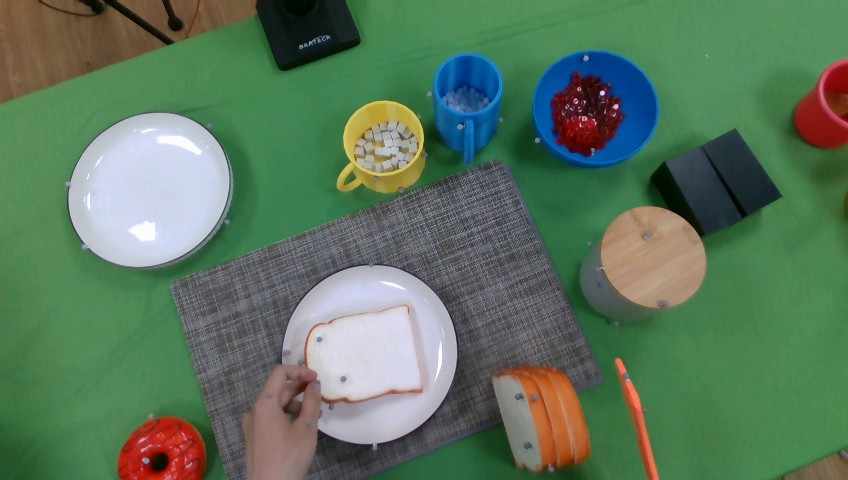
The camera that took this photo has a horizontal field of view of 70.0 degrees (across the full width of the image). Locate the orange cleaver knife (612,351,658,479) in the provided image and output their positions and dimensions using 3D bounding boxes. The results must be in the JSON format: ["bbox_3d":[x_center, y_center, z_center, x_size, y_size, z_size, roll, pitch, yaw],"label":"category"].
[{"bbox_3d":[0.216,0.212,0.588,0.012,0.077,0.212,-16,97,8],"label":"orange cleaver knife"}]

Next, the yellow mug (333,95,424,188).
[{"bbox_3d":[-0.063,-0.113,0.763,0.131,0.064,0.099,-42,78,-7],"label":"yellow mug"}]

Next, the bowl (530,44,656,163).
[{"bbox_3d":[0.203,-0.158,0.761,0.151,0.077,0.150,0,77,2],"label":"bowl"}]

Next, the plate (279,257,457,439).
[{"bbox_3d":[-0.065,0.125,0.716,0.209,0.038,0.208,0,76,1],"label":"plate"}]

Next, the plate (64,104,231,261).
[{"bbox_3d":[-0.347,-0.071,0.774,0.208,0.039,0.206,0,77,1],"label":"plate"}]

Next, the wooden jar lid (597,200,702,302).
[{"bbox_3d":[0.232,0.012,0.631,0.108,0.021,0.108,0,77,-1],"label":"wooden jar lid"}]

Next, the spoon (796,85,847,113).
[{"bbox_3d":[0.555,-0.177,0.723,0.022,0.192,0.041,35,70,-37],"label":"spoon"}]

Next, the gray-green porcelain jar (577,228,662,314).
[{"bbox_3d":[0.235,0.028,0.691,0.106,0.127,0.105,0,76,1],"label":"gray-green porcelain jar"}]

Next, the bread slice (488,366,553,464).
[{"bbox_3d":[0.103,0.184,0.653,0.018,0.135,0.106,-13,74,-10],"label":"bread slice"}]

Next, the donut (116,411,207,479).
[{"bbox_3d":[-0.299,0.246,0.694,0.099,0.048,0.098,0,76,-1],"label":"donut"}]

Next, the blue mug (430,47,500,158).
[{"bbox_3d":[0.050,-0.160,0.752,0.082,0.106,0.116,-1,76,1],"label":"blue mug"}]

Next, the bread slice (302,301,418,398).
[{"bbox_3d":[-0.074,0.130,0.703,0.132,0.019,0.104,-7,75,-20],"label":"bread slice"}]
